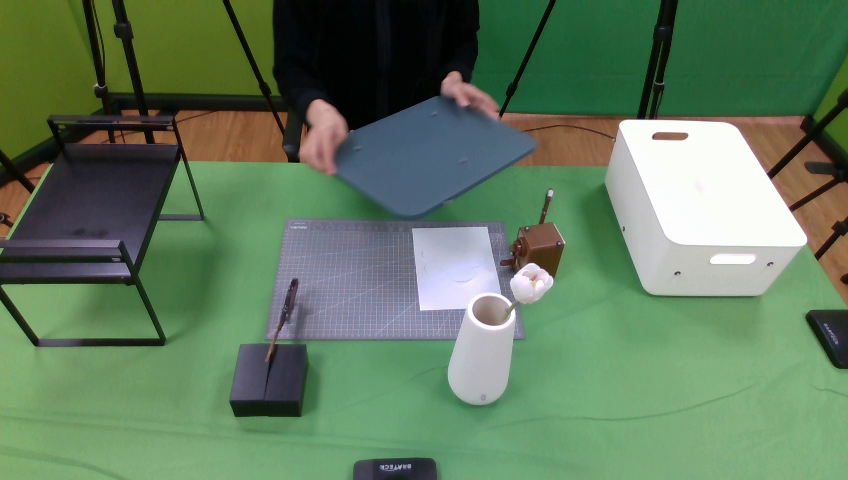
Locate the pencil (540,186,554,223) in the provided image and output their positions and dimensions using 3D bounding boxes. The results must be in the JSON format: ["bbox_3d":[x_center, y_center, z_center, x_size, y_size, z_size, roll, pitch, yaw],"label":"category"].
[{"bbox_3d":[0.251,-0.048,1.273,0.012,0.012,0.193,16,49,11],"label":"pencil"}]

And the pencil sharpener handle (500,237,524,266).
[{"bbox_3d":[0.159,0.024,1.111,0.031,0.068,0.035,-9,53,-12],"label":"pencil sharpener handle"}]

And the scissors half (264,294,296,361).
[{"bbox_3d":[-0.239,0.143,1.004,0.013,0.040,0.174,17,28,-6],"label":"scissors half"}]

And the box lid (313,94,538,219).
[{"bbox_3d":[0.008,-0.168,1.114,0.262,0.015,0.371,34,48,29],"label":"box lid"}]

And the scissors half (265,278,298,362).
[{"bbox_3d":[-0.234,0.127,0.993,0.013,0.040,0.174,13,45,-3],"label":"scissors half"}]

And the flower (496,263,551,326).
[{"bbox_3d":[0.102,0.120,0.853,0.044,0.363,0.038,-1,64,-10],"label":"flower"}]

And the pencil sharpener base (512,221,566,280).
[{"bbox_3d":[0.209,0.026,1.130,0.077,0.107,0.061,-9,48,-12],"label":"pencil sharpener base"}]

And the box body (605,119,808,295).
[{"bbox_3d":[0.529,-0.068,1.205,0.254,0.161,0.361,1,46,-4],"label":"box body"}]

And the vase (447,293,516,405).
[{"bbox_3d":[0.091,0.169,0.921,0.098,0.201,0.097,3,47,-3],"label":"vase"}]
